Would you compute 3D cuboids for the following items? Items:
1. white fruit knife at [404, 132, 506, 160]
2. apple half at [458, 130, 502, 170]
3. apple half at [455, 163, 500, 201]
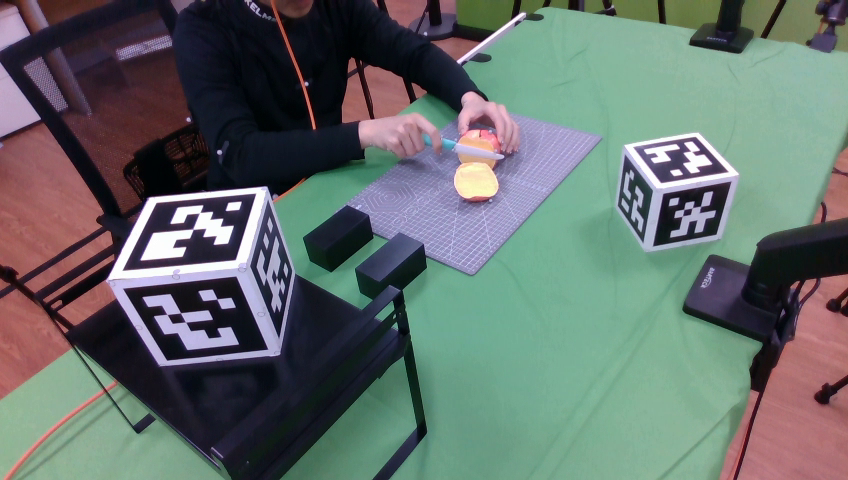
[{"bbox_3d":[0.053,-0.171,1.101,0.206,0.027,0.016,15,52,22],"label":"white fruit knife"},{"bbox_3d":[0.107,-0.167,1.107,0.080,0.075,0.053,9,39,26],"label":"apple half"},{"bbox_3d":[0.090,-0.096,1.053,0.081,0.033,0.081,3,58,-4],"label":"apple half"}]
